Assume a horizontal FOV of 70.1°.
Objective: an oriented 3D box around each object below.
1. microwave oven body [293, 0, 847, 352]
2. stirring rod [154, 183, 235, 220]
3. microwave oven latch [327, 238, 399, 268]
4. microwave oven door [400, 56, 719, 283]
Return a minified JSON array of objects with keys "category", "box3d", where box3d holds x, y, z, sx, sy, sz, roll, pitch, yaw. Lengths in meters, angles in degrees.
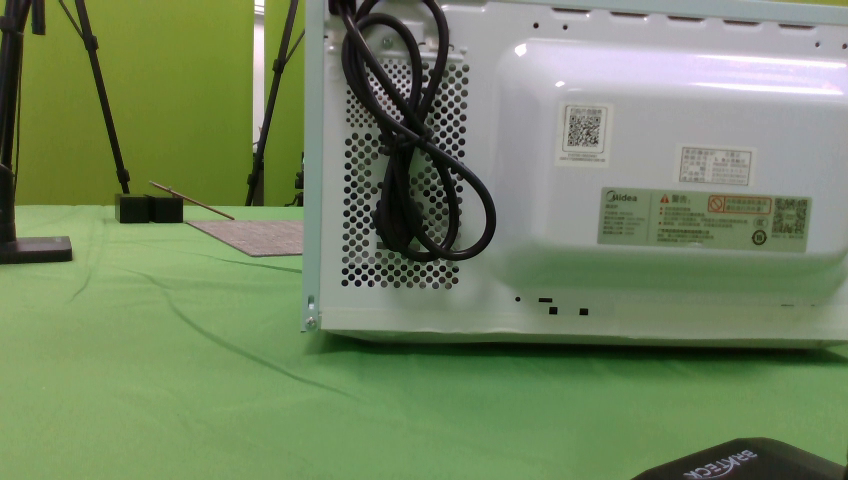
[{"category":"microwave oven body","box3d":[0.122,-0.055,0.550,0.442,0.260,0.325,3,7,-5]},{"category":"stirring rod","box3d":[-0.472,-0.079,1.252,0.177,0.006,0.014,27,3,-35]},{"category":"microwave oven latch","box3d":[-0.069,0.015,0.694,0.079,0.029,0.030,3,7,-3]},{"category":"microwave oven door","box3d":[0.155,-0.077,0.697,0.356,0.243,0.039,2,8,-5]}]
